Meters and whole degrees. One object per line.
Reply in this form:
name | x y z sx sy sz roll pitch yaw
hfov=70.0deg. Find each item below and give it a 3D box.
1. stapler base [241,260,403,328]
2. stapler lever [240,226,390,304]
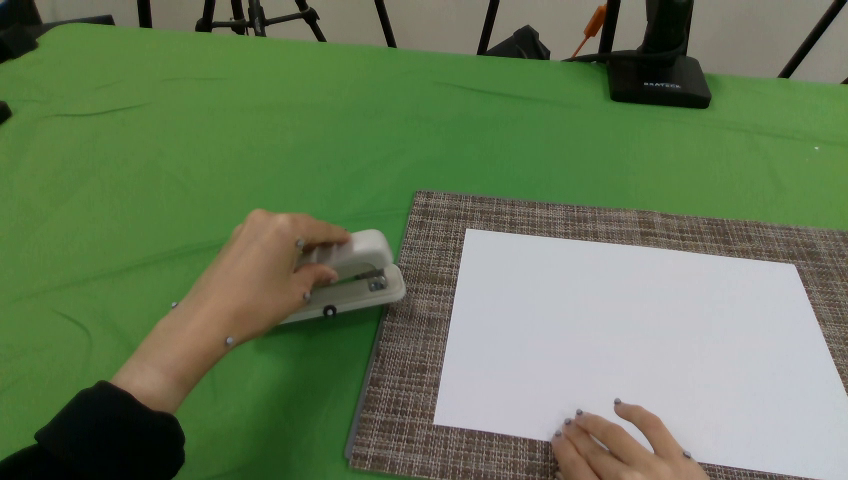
stapler base | -0.083 0.036 0.488 0.131 0.024 0.041 -12 45 -10
stapler lever | -0.085 0.019 0.469 0.118 0.040 0.026 -12 45 -10
